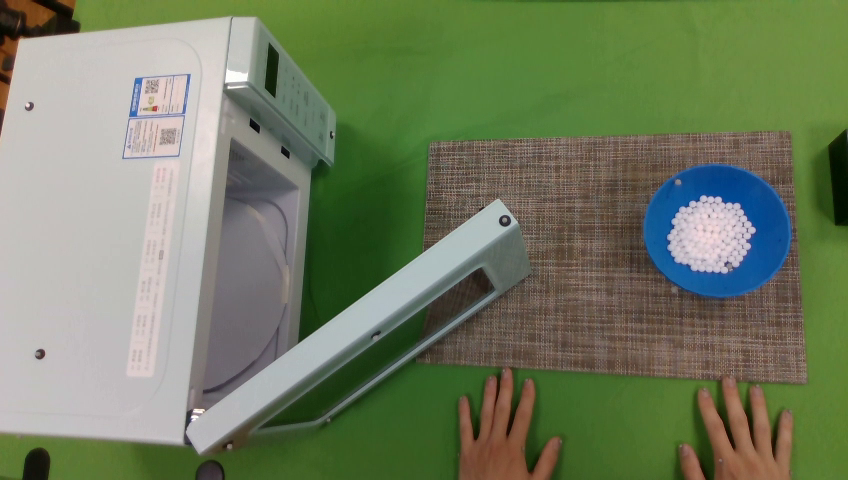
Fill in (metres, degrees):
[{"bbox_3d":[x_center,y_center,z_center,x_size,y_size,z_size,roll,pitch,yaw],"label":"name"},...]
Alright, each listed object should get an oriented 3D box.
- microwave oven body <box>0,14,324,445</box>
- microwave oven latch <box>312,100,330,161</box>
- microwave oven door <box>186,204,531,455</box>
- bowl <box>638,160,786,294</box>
[{"bbox_3d":[-0.316,0.003,0.734,0.325,0.262,0.439,-1,78,11],"label":"microwave oven body"},{"bbox_3d":[-0.146,-0.151,0.833,0.030,0.030,0.079,-1,78,12],"label":"microwave oven latch"},{"bbox_3d":[-0.045,0.104,0.649,0.356,0.245,0.039,-37,72,2],"label":"microwave oven door"},{"bbox_3d":[0.320,-0.007,0.694,0.151,0.077,0.150,-3,77,12],"label":"bowl"}]
